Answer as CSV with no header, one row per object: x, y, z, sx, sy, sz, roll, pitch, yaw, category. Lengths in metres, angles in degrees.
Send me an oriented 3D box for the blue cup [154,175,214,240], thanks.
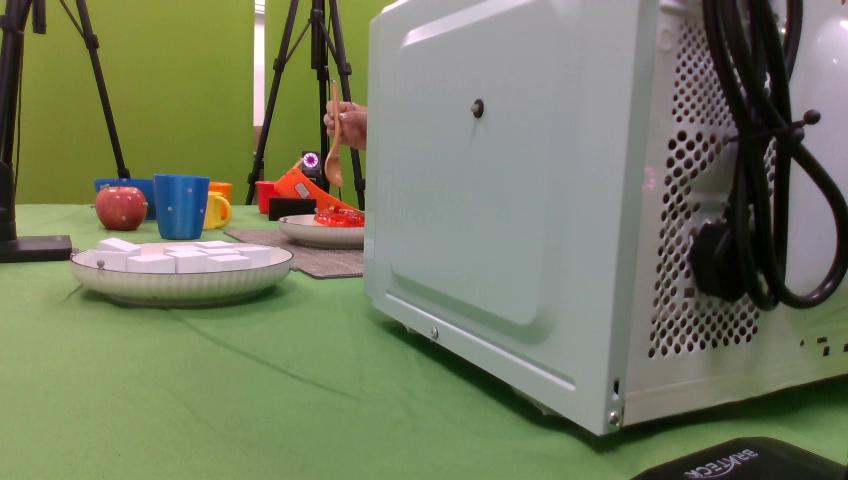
-0.391,-0.053,0.978,0.093,0.100,0.092,3,6,0,blue cup

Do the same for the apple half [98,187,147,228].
-0.534,-0.059,1.071,0.082,0.081,0.032,-1,11,-25,apple half

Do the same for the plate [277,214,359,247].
-0.134,-0.017,0.992,0.209,0.038,0.209,2,7,0,plate

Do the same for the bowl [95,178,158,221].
-0.576,-0.081,1.217,0.151,0.077,0.151,3,8,0,bowl

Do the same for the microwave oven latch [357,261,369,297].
-0.019,0.033,0.530,0.079,0.029,0.030,-1,7,-26,microwave oven latch

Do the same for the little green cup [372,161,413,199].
-0.049,-0.095,0.975,0.061,0.038,0.061,-28,-6,-3,little green cup

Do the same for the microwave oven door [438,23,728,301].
0.181,-0.072,0.620,0.358,0.243,0.039,-2,8,-29,microwave oven door

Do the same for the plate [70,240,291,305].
-0.242,0.031,0.618,0.208,0.039,0.207,2,8,0,plate

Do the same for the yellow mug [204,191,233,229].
-0.415,-0.057,1.131,0.130,0.064,0.100,6,7,16,yellow mug

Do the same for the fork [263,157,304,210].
-0.345,-0.143,1.505,0.028,0.019,0.207,-4,46,28,fork

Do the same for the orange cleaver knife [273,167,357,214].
-0.238,-0.091,1.381,0.212,0.077,0.012,31,0,-19,orange cleaver knife

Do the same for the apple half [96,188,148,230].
-0.517,-0.052,1.036,0.081,0.074,0.053,3,10,-26,apple half

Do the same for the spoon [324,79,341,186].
-0.150,-0.182,1.016,0.021,0.193,0.042,-7,-15,31,spoon

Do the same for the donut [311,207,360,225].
-0.137,-0.028,0.995,0.099,0.048,0.099,4,8,0,donut

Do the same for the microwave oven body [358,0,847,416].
0.211,-0.047,0.474,0.444,0.260,0.324,-1,7,-28,microwave oven body
